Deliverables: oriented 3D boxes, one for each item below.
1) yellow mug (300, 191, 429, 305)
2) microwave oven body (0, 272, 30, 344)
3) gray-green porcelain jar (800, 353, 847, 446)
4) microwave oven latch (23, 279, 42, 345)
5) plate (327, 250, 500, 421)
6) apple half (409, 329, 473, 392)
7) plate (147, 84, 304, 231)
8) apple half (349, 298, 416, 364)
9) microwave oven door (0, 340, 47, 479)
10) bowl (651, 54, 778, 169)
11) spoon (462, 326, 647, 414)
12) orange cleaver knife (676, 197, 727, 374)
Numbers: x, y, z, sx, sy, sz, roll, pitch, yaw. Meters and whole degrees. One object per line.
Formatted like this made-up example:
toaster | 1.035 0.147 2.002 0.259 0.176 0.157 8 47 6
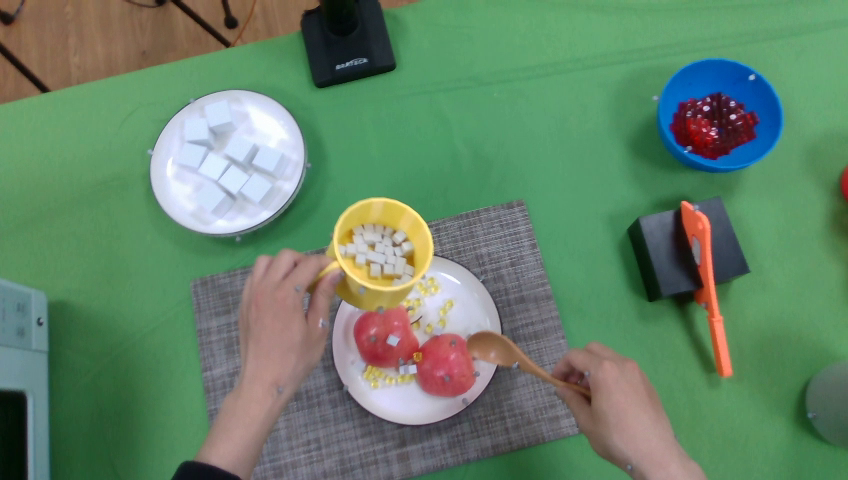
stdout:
yellow mug | -0.063 0.015 0.604 0.131 0.064 0.099 -26 77 -25
microwave oven body | -0.614 0.259 0.613 0.326 0.261 0.439 -11 75 -1
gray-green porcelain jar | 0.490 0.174 0.662 0.106 0.127 0.105 -1 75 2
microwave oven latch | -0.495 0.090 0.753 0.030 0.029 0.078 -9 76 -1
plate | -0.013 0.114 0.741 0.209 0.038 0.208 0 75 2
apple half | 0.019 0.144 0.725 0.081 0.033 0.081 -1 72 3
plate | -0.262 -0.109 0.815 0.207 0.039 0.206 -1 75 2
apple half | -0.052 0.107 0.729 0.074 0.053 0.080 -16 76 1
microwave oven door | -0.463 0.271 0.598 0.039 0.245 0.353 -11 75 0
bowl | 0.359 -0.151 0.778 0.151 0.077 0.150 -1 75 3
spoon | 0.128 0.134 0.612 0.192 0.021 0.042 23 119 22
orange cleaver knife | 0.329 0.053 0.723 0.012 0.077 0.212 -13 98 3
